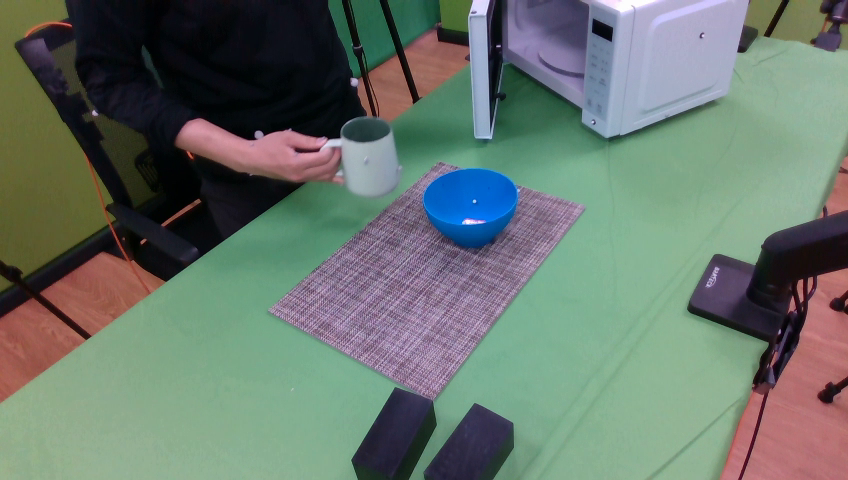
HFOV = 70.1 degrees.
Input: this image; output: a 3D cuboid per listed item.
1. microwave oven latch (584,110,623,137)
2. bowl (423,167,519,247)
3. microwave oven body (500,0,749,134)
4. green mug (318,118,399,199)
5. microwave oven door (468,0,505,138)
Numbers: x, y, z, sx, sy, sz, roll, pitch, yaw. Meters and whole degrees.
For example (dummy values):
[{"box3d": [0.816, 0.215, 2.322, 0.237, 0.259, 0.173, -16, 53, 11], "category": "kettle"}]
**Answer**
[{"box3d": [0.337, -0.222, 1.142, 0.030, 0.029, 0.078, -21, 42, -14], "category": "microwave oven latch"}, {"box3d": [0.075, -0.041, 0.958, 0.151, 0.077, 0.150, -4, 40, 4], "category": "bowl"}, {"box3d": [0.382, -0.445, 1.246, 0.327, 0.261, 0.437, -22, 42, -16], "category": "microwave oven body"}, {"box3d": [-0.104, -0.126, 0.952, 0.125, 0.105, 0.092, -4, 42, -1], "category": "green mug"}, {"box3d": [0.132, -0.404, 1.225, 0.039, 0.245, 0.354, 1, 41, 11], "category": "microwave oven door"}]
